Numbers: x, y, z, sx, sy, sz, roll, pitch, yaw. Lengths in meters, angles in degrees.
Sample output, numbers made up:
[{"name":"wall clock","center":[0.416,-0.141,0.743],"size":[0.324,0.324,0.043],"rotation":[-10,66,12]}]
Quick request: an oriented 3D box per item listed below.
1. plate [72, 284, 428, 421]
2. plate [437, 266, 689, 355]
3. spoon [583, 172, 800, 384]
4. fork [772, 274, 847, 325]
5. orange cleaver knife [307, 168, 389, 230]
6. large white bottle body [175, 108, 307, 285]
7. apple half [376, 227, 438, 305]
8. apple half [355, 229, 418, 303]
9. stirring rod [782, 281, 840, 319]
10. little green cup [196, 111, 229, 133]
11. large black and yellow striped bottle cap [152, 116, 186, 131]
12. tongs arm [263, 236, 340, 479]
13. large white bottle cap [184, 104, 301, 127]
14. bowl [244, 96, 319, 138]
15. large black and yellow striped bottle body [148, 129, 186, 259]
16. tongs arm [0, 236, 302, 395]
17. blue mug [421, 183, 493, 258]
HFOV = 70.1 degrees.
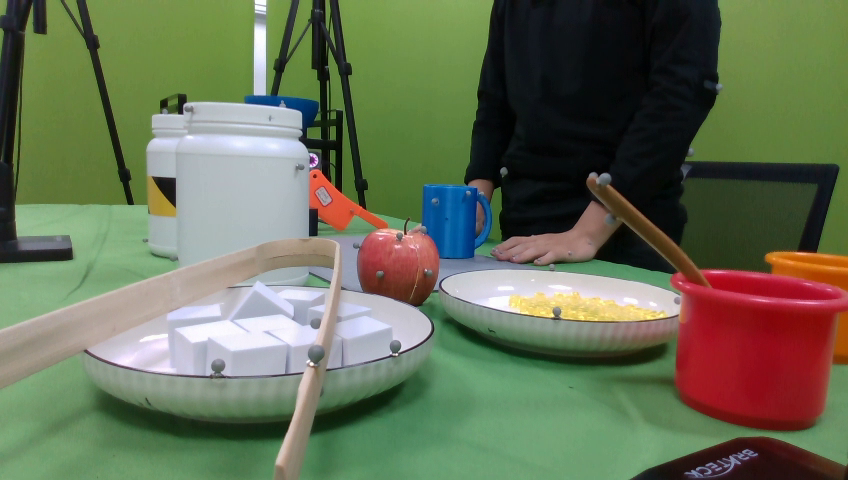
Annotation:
[{"name":"plate","center":[-0.102,0.067,0.381],"size":[0.208,0.039,0.207],"rotation":[2,7,0]},{"name":"plate","center":[0.114,0.057,0.517],"size":[0.209,0.038,0.209],"rotation":[3,7,0]},{"name":"spoon","center":[0.159,0.026,0.358],"size":[0.194,0.021,0.041],"rotation":[46,-3,-14]},{"name":"fork","center":[0.332,0.018,0.443],"size":[0.028,0.018,0.207],"rotation":[-1,-36,-15]},{"name":"orange cleaver knife","center":[-0.158,-0.060,1.166],"size":[0.212,0.077,0.012],"rotation":[34,-12,-32]},{"name":"large white bottle body","center":[-0.188,-0.042,0.630],"size":[0.131,0.184,0.130],"rotation":[2,8,0]},{"name":"apple half","center":[-0.017,0.026,0.593],"size":[0.080,0.074,0.053],"rotation":[4,2,43]},{"name":"apple half","center":[-0.043,0.027,0.564],"size":[0.081,0.081,0.033],"rotation":[9,5,42]},{"name":"stirring rod","center":[0.344,0.019,0.460],"size":[0.014,0.006,0.176],"rotation":[-13,-27,-30]},{"name":"little green cup","center":[-0.403,-0.225,1.154],"size":[0.061,0.038,0.061],"rotation":[3,8,0]},{"name":"large black and yellow striped bottle cap","center":[-0.309,-0.155,0.826],"size":[0.115,0.019,0.115],"rotation":[3,6,0]},{"name":"tongs arm","center":[-0.074,0.039,0.349],"size":[0.051,0.026,0.384],"rotation":[-2,9,-3]},{"name":"large white bottle cap","center":[-0.184,-0.126,0.618],"size":[0.115,0.018,0.115],"rotation":[2,8,0]},{"name":"bowl","center":[-0.295,-0.252,1.254],"size":[0.151,0.077,0.151],"rotation":[2,7,0]},{"name":"large black and yellow striped bottle body","center":[-0.310,-0.073,0.838],"size":[0.131,0.184,0.130],"rotation":[2,8,0]},{"name":"tongs arm","center":[-0.158,0.038,0.351],"size":[0.028,0.028,0.388],"rotation":[-3,8,11]},{"name":"blue mug","center":[0.052,-0.032,0.912],"size":[0.117,0.106,0.082],"rotation":[-1,8,-24]}]
